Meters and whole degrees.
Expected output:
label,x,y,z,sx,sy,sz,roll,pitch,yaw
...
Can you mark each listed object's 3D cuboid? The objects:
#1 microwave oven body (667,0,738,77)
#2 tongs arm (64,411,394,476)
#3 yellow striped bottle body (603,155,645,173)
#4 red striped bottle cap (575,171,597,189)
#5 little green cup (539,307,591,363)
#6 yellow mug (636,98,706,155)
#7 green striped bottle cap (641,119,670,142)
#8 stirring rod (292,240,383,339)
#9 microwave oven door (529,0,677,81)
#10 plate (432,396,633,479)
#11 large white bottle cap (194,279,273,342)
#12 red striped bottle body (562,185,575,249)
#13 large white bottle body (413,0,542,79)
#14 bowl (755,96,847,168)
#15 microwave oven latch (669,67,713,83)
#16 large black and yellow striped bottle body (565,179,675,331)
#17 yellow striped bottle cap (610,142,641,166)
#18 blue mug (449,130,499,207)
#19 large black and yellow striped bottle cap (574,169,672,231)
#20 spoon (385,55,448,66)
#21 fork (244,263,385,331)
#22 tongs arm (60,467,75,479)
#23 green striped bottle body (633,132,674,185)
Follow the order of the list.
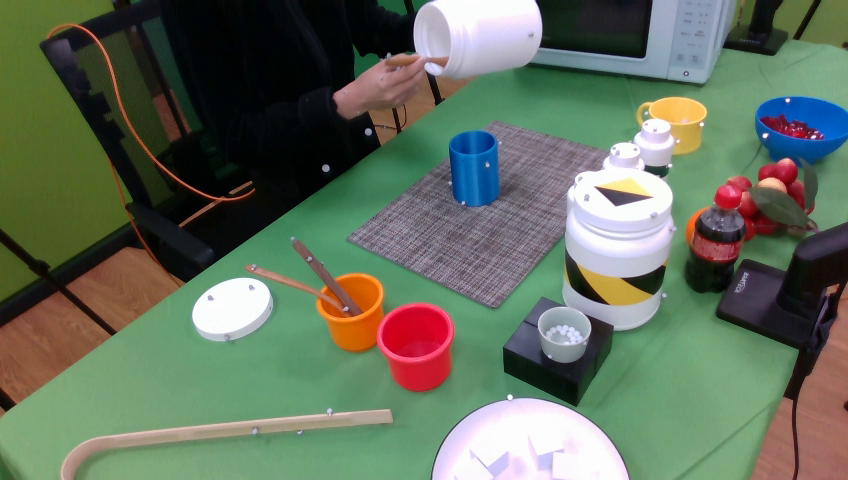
label,x,y,z,sx,sy,sz,roll,pitch,yaw
microwave oven body,0.462,-0.552,1.369,0.439,0.261,0.326,15,45,26
tongs arm,-0.228,0.241,0.715,0.385,0.026,0.050,-5,44,5
yellow striped bottle body,0.314,-0.091,0.957,0.063,0.121,0.062,-4,40,4
red striped bottle cap,0.242,-0.081,0.876,0.044,0.018,0.044,-5,44,5
little green cup,0.167,0.114,0.721,0.061,0.039,0.061,-4,43,4
yellow mug,0.453,-0.217,1.128,0.100,0.064,0.129,-34,46,-27
green striped bottle cap,0.371,-0.175,0.968,0.044,0.020,0.044,-4,42,5
stirring rod,-0.118,0.068,0.825,0.176,0.006,0.014,48,59,-3
microwave oven door,0.354,-0.478,1.290,0.353,0.245,0.039,15,45,25
plate,0.112,0.261,0.634,0.209,0.038,0.208,-5,40,4
large white bottle cap,-0.284,0.103,0.902,0.115,0.018,0.114,-4,40,4
red striped bottle body,0.247,-0.041,0.910,0.063,0.120,0.062,0,38,1
large white bottle body,0.086,-0.338,0.999,0.186,0.131,0.129,-17,39,-30
bowl,0.645,-0.177,1.041,0.151,0.077,0.150,-5,40,4
microwave oven latch,0.556,-0.349,1.261,0.078,0.029,0.030,16,46,27
large black and yellow striped bottle body,0.254,0.014,0.793,0.131,0.185,0.130,-5,40,4
yellow striped bottle cap,0.308,-0.131,0.925,0.044,0.019,0.044,-4,45,4
blue mug,0.089,-0.132,1.049,0.082,0.106,0.116,0,40,8
large black and yellow striped bottle cap,0.242,-0.051,0.738,0.115,0.019,0.114,-4,37,3
spoon,0.007,-0.277,0.931,0.195,0.041,0.021,-15,61,-44
fork,-0.142,0.077,0.807,0.209,0.018,0.028,30,44,-24
tongs arm,-0.239,0.301,0.649,0.386,0.028,0.028,6,49,17
green striped bottle body,0.376,-0.135,1.001,0.063,0.120,0.063,-5,40,5
